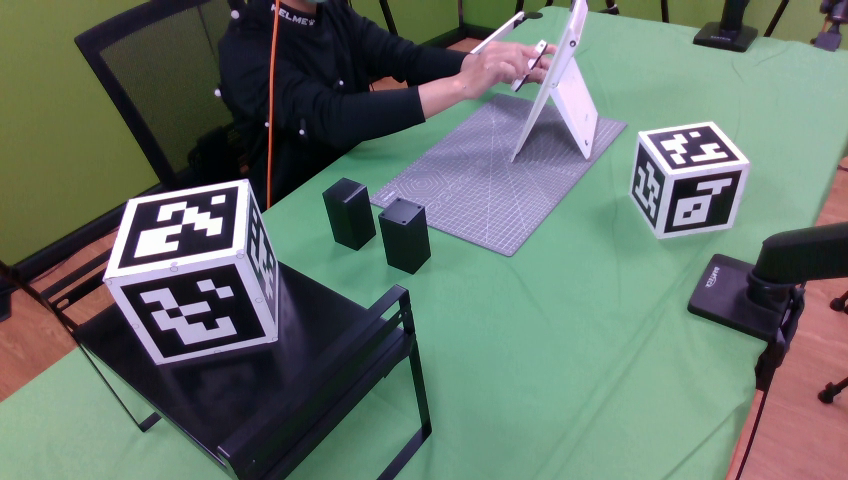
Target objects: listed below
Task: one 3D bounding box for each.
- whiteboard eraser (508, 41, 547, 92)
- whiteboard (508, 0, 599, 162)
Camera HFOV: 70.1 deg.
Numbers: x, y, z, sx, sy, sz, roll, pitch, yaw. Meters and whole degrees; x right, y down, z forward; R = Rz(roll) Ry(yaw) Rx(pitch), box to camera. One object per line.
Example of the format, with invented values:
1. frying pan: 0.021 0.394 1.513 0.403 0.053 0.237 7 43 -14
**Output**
1. whiteboard eraser: 0.190 -0.319 1.110 0.019 0.101 0.041 35 13 -7
2. whiteboard: 0.285 -0.289 1.090 0.144 0.305 0.217 22 45 3
